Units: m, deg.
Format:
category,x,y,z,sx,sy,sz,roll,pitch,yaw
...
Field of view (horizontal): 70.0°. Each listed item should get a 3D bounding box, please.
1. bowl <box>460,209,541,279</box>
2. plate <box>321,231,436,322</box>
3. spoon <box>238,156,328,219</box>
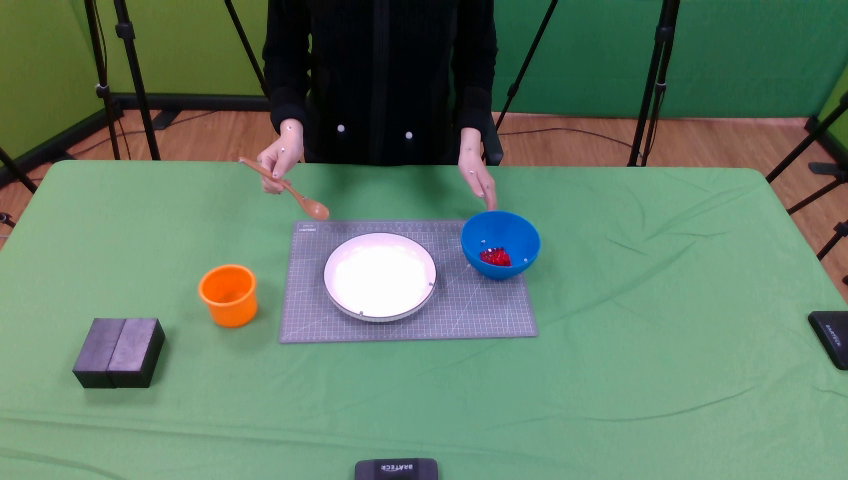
category,x,y,z,sx,sy,sz,roll,pitch,yaw
bowl,0.140,0.021,1.145,0.151,0.077,0.150,2,46,-2
plate,-0.083,0.070,1.109,0.209,0.038,0.208,3,46,-3
spoon,-0.250,-0.095,1.087,0.021,0.195,0.041,-26,42,30
